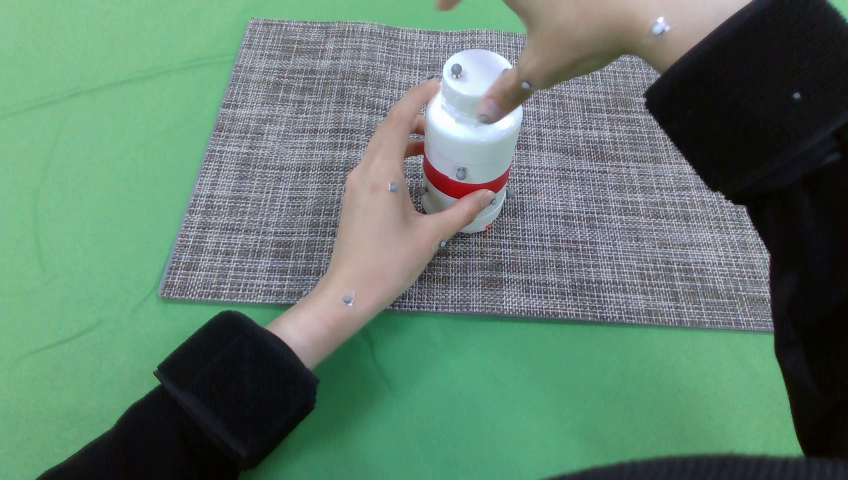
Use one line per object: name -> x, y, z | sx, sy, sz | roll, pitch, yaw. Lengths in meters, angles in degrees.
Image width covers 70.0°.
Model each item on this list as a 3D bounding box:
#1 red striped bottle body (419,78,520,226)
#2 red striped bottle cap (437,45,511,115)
red striped bottle body -> 0.029, -0.067, 0.411 | 0.063, 0.120, 0.062 | 1, 56, -1
red striped bottle cap -> 0.030, -0.098, 0.366 | 0.044, 0.018, 0.044 | 2, 58, -3
